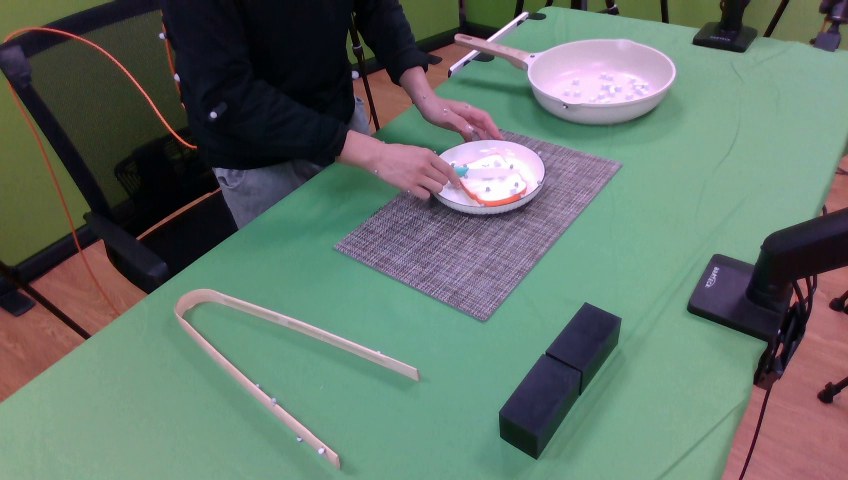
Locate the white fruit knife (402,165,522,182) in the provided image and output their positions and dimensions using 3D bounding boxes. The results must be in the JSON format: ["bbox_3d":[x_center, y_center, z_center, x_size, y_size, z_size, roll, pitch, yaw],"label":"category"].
[{"bbox_3d":[0.066,-0.114,1.014,0.208,0.027,0.016,-4,41,-13],"label":"white fruit knife"}]

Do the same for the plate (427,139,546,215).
[{"bbox_3d":[0.109,-0.107,1.059,0.207,0.039,0.206,-4,40,4],"label":"plate"}]

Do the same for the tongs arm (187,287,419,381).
[{"bbox_3d":[-0.178,0.126,0.842,0.385,0.028,0.028,15,48,24],"label":"tongs arm"}]

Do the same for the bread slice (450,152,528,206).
[{"bbox_3d":[0.117,-0.104,1.057,0.107,0.018,0.133,-24,42,-17],"label":"bread slice"}]

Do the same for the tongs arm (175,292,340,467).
[{"bbox_3d":[-0.225,0.168,0.793,0.381,0.026,0.051,25,49,33],"label":"tongs arm"}]

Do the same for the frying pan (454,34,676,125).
[{"bbox_3d":[0.277,-0.370,1.295,0.485,0.103,0.307,26,49,22],"label":"frying pan"}]
